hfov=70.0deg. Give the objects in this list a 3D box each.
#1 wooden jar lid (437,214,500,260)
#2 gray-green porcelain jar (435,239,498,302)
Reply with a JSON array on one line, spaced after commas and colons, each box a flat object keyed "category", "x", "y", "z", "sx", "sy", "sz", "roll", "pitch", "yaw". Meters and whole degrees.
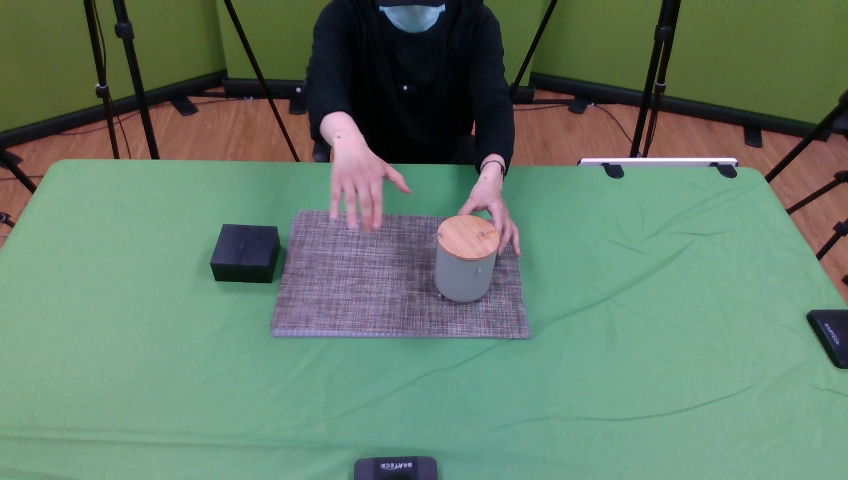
[{"category": "wooden jar lid", "x": 0.076, "y": -0.002, "z": 1.039, "sx": 0.108, "sy": 0.021, "sz": 0.107, "roll": 2, "pitch": 44, "yaw": -1}, {"category": "gray-green porcelain jar", "x": 0.073, "y": 0.041, "z": 1.083, "sx": 0.106, "sy": 0.127, "sz": 0.105, "roll": 2, "pitch": 46, "yaw": -2}]
